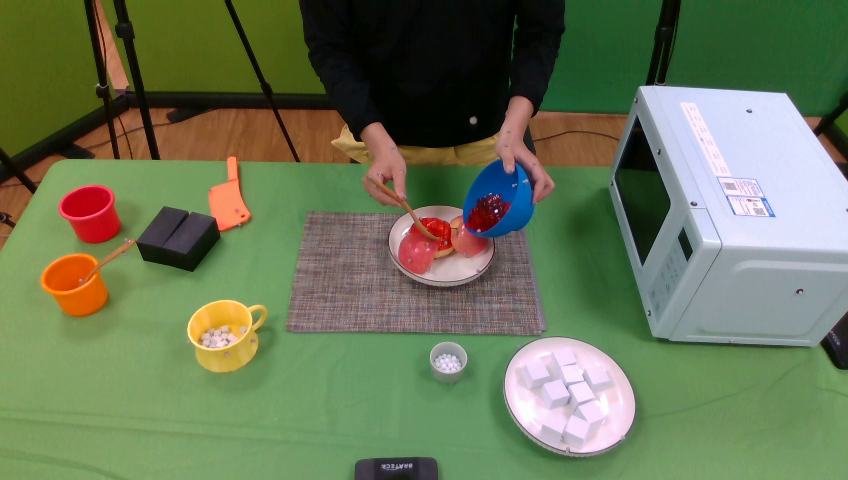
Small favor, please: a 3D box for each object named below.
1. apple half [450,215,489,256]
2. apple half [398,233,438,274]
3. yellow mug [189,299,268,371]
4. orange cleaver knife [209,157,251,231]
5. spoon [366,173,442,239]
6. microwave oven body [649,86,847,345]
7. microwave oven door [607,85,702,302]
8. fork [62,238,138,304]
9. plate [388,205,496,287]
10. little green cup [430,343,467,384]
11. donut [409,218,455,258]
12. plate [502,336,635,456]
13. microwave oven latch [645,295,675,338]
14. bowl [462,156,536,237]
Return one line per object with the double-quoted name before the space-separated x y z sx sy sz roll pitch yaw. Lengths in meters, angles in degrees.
"apple half" 0.092 -0.013 1.159 0.075 0.053 0.080 35 39 -28
"apple half" -0.016 0.022 1.123 0.081 0.033 0.081 -2 84 14
"yellow mug" -0.316 0.148 1.002 0.131 0.064 0.099 -33 56 -31
"orange cleaver knife" -0.409 -0.099 1.266 0.077 0.012 0.210 -14 50 -10
"spoon" -0.034 -0.058 1.067 0.021 0.195 0.041 -43 32 3
"microwave oven body" 0.568 -0.053 1.118 0.326 0.261 0.439 2 45 -1
"microwave oven door" 0.423 -0.094 1.141 0.039 0.245 0.353 2 46 -1
"fork" -0.547 0.053 1.018 0.207 0.019 0.028 -36 41 23
"plate" 0.033 0.014 1.171 0.209 0.038 0.208 2 46 -2
"little green cup" 0.039 0.203 0.994 0.061 0.039 0.061 2 46 -2
"donut" 0.020 -0.005 1.174 0.099 0.048 0.098 3 42 -2
"plate" 0.225 0.248 0.964 0.208 0.039 0.206 2 46 -2
"microwave oven latch" 0.412 0.134 1.062 0.030 0.029 0.078 3 45 0
"bowl" 0.146 -0.065 1.087 0.077 0.151 0.150 26 38 -29
